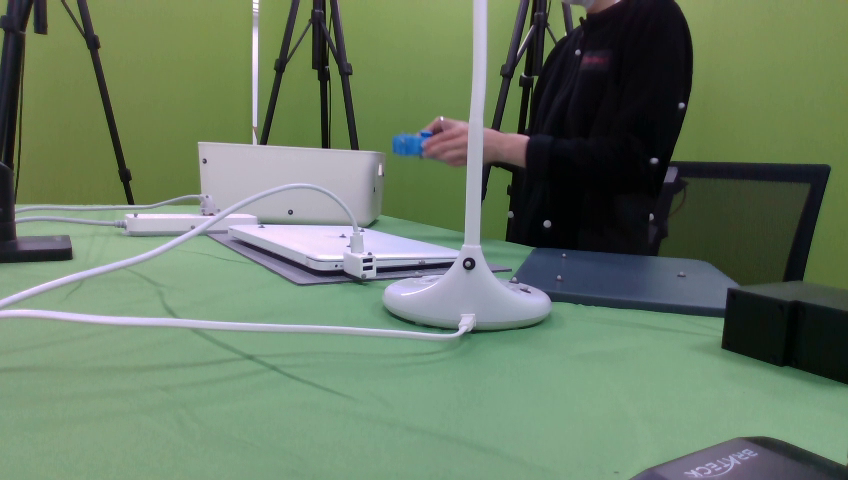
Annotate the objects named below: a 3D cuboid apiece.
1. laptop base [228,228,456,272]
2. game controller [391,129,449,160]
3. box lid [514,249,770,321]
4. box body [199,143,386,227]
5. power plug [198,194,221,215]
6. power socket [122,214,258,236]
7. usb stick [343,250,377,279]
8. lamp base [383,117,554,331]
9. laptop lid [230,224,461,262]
[{"bbox_3d":[-0.122,0.011,0.889,0.237,0.023,0.352,2,6,-35],"label":"laptop base"},{"bbox_3d":[-0.011,-0.184,1.139,0.097,0.051,0.155,3,10,-9],"label":"game controller"},{"bbox_3d":[0.259,0.048,0.781,0.263,0.015,0.372,4,7,14],"label":"box lid"},{"bbox_3d":[-0.277,-0.124,1.334,0.364,0.160,0.254,3,7,1],"label":"box body"},{"bbox_3d":[-0.387,-0.055,1.089,0.035,0.052,0.072,-1,6,-22],"label":"power plug"},{"bbox_3d":[-0.398,-0.028,1.049,0.228,0.032,0.072,-3,8,-34],"label":"power socket"},{"bbox_3d":[-0.076,0.026,0.687,0.021,0.027,0.059,-8,8,-31],"label":"usb stick"},{"bbox_3d":[0.045,-0.019,0.547,0.161,0.180,0.179,2,10,-4],"label":"lamp base"},{"bbox_3d":[-0.120,0.000,0.888,0.243,0.013,0.355,1,7,-33],"label":"laptop lid"}]
